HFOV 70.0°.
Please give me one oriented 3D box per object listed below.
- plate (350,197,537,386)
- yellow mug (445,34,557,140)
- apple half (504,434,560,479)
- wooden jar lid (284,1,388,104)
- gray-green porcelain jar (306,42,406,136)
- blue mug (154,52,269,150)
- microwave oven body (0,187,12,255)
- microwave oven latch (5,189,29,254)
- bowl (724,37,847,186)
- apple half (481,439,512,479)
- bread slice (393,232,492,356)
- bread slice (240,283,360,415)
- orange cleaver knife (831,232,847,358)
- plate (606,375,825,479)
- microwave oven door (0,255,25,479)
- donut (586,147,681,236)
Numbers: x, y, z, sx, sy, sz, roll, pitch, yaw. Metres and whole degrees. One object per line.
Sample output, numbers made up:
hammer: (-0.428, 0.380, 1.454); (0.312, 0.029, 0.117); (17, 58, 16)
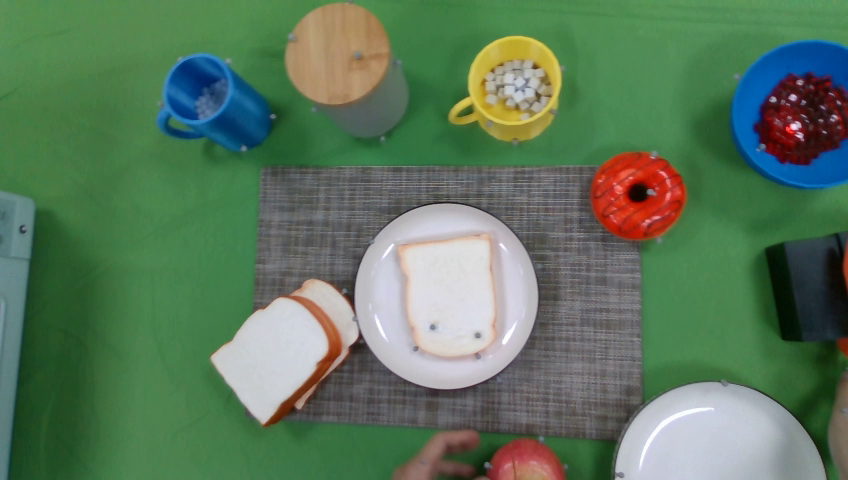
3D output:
plate: (0.021, 0.057, 0.679); (0.207, 0.039, 0.207); (-1, 84, 9)
yellow mug: (0.084, -0.164, 0.684); (0.131, 0.064, 0.099); (-23, 81, 6)
apple half: (0.114, 0.243, 0.631); (0.053, 0.075, 0.080); (-7, 79, 2)
wooden jar lid: (-0.089, -0.188, 0.619); (0.108, 0.021, 0.108); (-1, 81, 9)
gray-green porcelain jar: (-0.079, -0.180, 0.680); (0.106, 0.127, 0.105); (-1, 83, 8)
blue mug: (-0.256, -0.153, 0.713); (0.116, 0.106, 0.082); (-25, 80, 5)
microwave oven body: (-0.681, 0.138, 0.660); (0.325, 0.261, 0.440); (1, 84, 8)
microwave oven latch: (-0.514, -0.023, 0.751); (0.030, 0.029, 0.079); (4, 85, 9)
bowl: (0.382, -0.123, 0.629); (0.151, 0.077, 0.151); (-1, 84, 9)
apple half: (0.077, 0.249, 0.634); (0.033, 0.081, 0.081); (-8, 82, 5)
bread slice: (0.027, 0.061, 0.679); (0.107, 0.018, 0.134); (-10, 81, 8)
bread slice: (-0.130, 0.118, 0.694); (0.105, 0.019, 0.131); (35, 88, 2)
orange cleaver knife: (0.424, 0.097, 0.596); (0.012, 0.076, 0.213); (-10, 111, 5)
plate: (0.292, 0.242, 0.621); (0.209, 0.038, 0.208); (-1, 83, 9)
microwave oven door: (-0.540, 0.182, 0.629); (0.039, 0.245, 0.355); (1, 83, 9)
donut: (0.226, -0.053, 0.658); (0.099, 0.048, 0.099); (-1, 84, 9)
